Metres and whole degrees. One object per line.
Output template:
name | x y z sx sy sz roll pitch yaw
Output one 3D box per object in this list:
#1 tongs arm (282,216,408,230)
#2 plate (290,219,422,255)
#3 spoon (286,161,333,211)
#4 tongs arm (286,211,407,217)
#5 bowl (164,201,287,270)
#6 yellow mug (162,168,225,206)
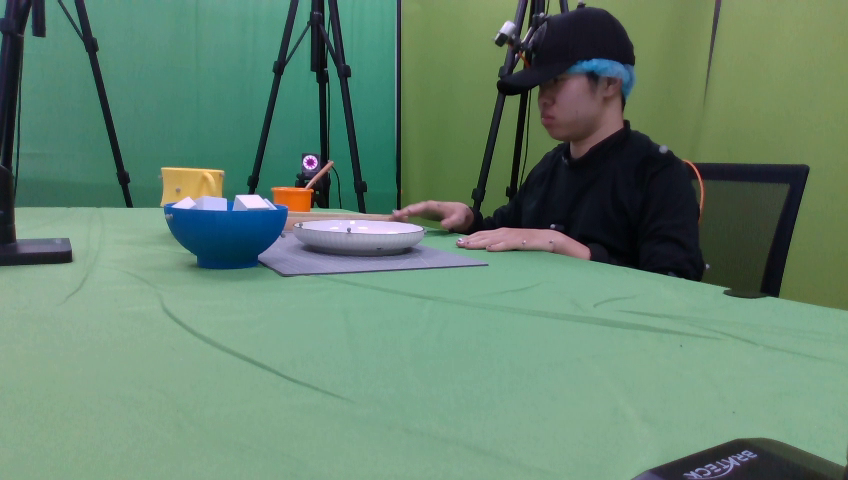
tongs arm | -0.181 -0.034 1.200 0.390 0.028 0.028 -2 4 -39
plate | -0.108 -0.005 0.963 0.208 0.039 0.207 3 7 0
spoon | -0.262 -0.115 1.359 0.041 0.194 0.022 12 -33 38
tongs arm | -0.222 -0.045 1.271 0.387 0.026 0.050 1 6 -25
bowl | -0.254 -0.006 0.782 0.151 0.077 0.151 2 8 0
yellow mug | -0.383 -0.087 1.026 0.130 0.064 0.100 11 11 44
